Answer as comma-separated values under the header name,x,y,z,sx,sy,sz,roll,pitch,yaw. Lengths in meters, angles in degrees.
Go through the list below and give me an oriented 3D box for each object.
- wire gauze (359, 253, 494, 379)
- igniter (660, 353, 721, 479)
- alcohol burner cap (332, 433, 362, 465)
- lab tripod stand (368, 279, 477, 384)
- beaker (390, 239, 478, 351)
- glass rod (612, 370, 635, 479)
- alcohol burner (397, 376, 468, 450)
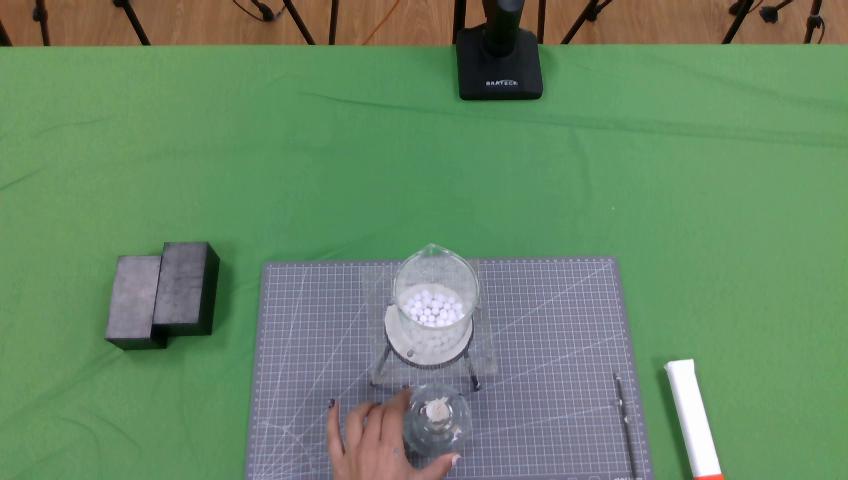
name,x,y,z,sx,sy,sz,roll,pitch,yaw
wire gauze,0.001,0.073,0.601,0.125,0.011,0.120,-5,65,-3
igniter,0.308,0.263,0.667,0.057,0.025,0.274,-5,68,-3
alcohol burner cap,-0.084,0.224,0.655,0.034,0.048,0.033,1,67,-3
lab tripod stand,-0.001,0.102,0.661,0.148,0.132,0.147,0,66,0
beaker,0.006,0.055,0.557,0.074,0.101,0.083,-4,65,-4
glass rod,0.229,0.245,0.678,0.008,0.008,0.198,-1,67,-3
alcohol burner,0.009,0.179,0.640,0.078,0.120,0.077,0,65,0
